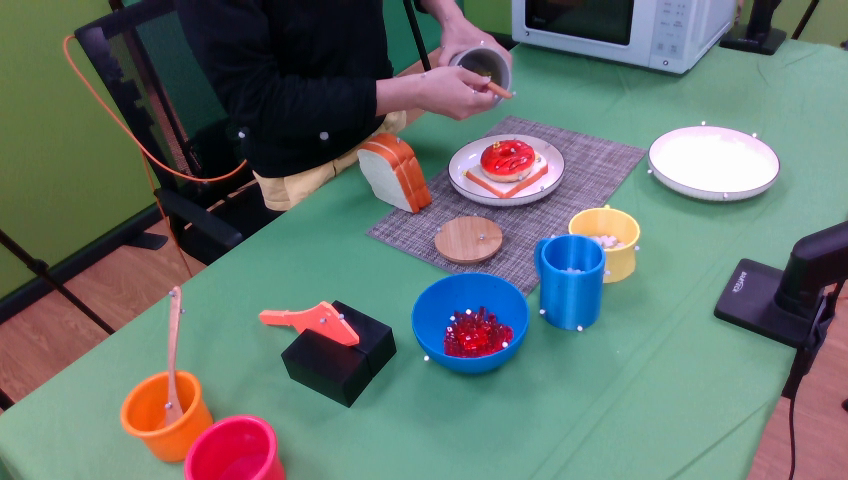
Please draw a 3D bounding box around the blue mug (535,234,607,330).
[{"bbox_3d":[0.190,0.048,0.824,0.082,0.106,0.115,-26,44,-20],"label":"blue mug"}]

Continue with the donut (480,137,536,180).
[{"bbox_3d":[0.146,-0.144,1.056,0.099,0.048,0.098,-6,43,6],"label":"donut"}]

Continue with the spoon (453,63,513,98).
[{"bbox_3d":[0.092,-0.266,1.006,0.042,0.022,0.192,-20,32,-16],"label":"spoon"}]

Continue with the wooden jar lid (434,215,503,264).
[{"bbox_3d":[0.070,0.001,0.956,0.108,0.021,0.108,-4,40,4],"label":"wooden jar lid"}]

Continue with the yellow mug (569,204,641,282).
[{"bbox_3d":[0.268,-0.005,0.904,0.099,0.064,0.130,7,41,15],"label":"yellow mug"}]

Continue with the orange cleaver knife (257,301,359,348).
[{"bbox_3d":[-0.160,0.115,0.813,0.210,0.077,0.012,-9,29,48],"label":"orange cleaver knife"}]

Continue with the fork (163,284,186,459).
[{"bbox_3d":[-0.302,0.157,0.733,0.028,0.019,0.207,-3,84,14],"label":"fork"}]

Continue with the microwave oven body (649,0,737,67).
[{"bbox_3d":[0.475,-0.602,1.411,0.438,0.261,0.327,23,50,32],"label":"microwave oven body"}]

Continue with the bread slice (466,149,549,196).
[{"bbox_3d":[0.156,-0.128,1.085,0.132,0.019,0.104,-34,48,-23],"label":"bread slice"}]

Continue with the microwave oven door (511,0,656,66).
[{"bbox_3d":[0.351,-0.539,1.348,0.353,0.245,0.039,24,50,31],"label":"microwave oven door"}]

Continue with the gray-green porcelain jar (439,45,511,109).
[{"bbox_3d":[0.086,-0.286,1.072,0.106,0.106,0.126,-13,14,-7],"label":"gray-green porcelain jar"}]

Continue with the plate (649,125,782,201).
[{"bbox_3d":[0.493,-0.127,1.036,0.207,0.039,0.206,-4,41,4],"label":"plate"}]

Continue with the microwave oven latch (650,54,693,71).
[{"bbox_3d":[0.531,-0.386,1.301,0.078,0.029,0.030,26,51,33],"label":"microwave oven latch"}]

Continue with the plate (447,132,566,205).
[{"bbox_3d":[0.146,-0.124,1.076,0.209,0.038,0.208,-4,41,4],"label":"plate"}]

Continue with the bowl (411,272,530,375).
[{"bbox_3d":[0.061,0.120,0.780,0.151,0.077,0.150,-4,40,4],"label":"bowl"}]

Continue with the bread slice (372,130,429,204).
[{"bbox_3d":[-0.043,-0.127,1.038,0.106,0.135,0.018,31,61,33],"label":"bread slice"}]
